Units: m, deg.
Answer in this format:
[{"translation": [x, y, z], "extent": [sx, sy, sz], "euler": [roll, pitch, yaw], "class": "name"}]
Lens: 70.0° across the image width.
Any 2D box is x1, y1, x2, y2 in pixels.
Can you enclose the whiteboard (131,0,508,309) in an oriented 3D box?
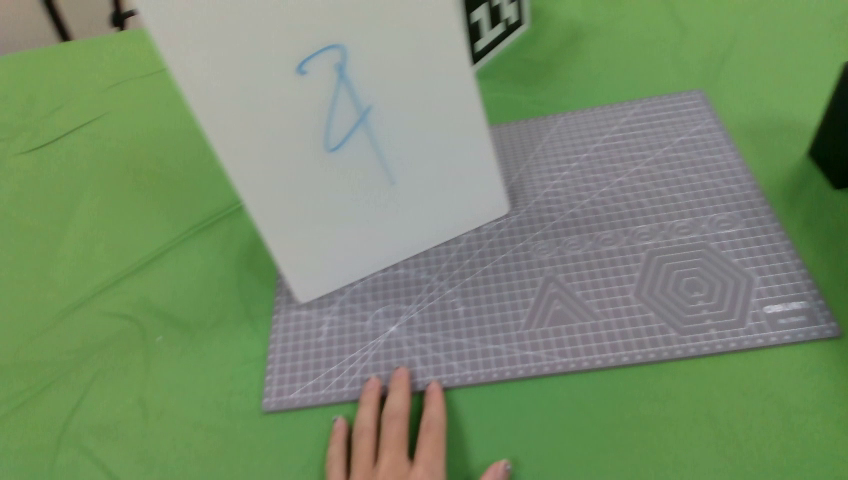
[{"translation": [-0.082, -0.135, 0.531], "extent": [0.217, 0.308, 0.142], "euler": [-24, 32, -7], "class": "whiteboard"}]
